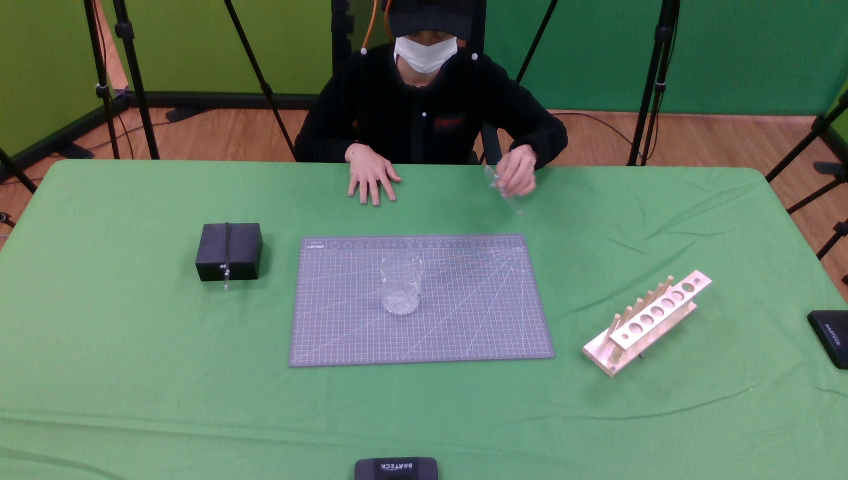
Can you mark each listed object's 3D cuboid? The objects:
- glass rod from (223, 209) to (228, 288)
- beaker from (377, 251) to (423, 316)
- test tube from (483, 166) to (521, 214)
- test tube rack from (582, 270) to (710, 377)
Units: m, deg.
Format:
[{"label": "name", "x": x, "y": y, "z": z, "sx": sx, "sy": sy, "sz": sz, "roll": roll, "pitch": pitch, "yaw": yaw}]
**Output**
[{"label": "glass rod", "x": -0.361, "y": 0.011, "z": 1.098, "sx": 0.008, "sy": 0.008, "sz": 0.198, "roll": -8, "pitch": 47, "yaw": -12}, {"label": "beaker", "x": -0.040, "y": 0.081, "z": 1.060, "sx": 0.074, "sy": 0.101, "sz": 0.083, "roll": -32, "pitch": 57, "yaw": -30}, {"label": "test tube", "x": 0.144, "y": -0.088, "z": 1.108, "sx": 0.017, "sy": 0.151, "sz": 0.017, "roll": -16, "pitch": 54, "yaw": 24}, {"label": "test tube rack", "x": 0.389, "y": 0.132, "z": 1.057, "sx": 0.242, "sy": 0.085, "sz": 0.066, "roll": -28, "pitch": 54, "yaw": -28}]
